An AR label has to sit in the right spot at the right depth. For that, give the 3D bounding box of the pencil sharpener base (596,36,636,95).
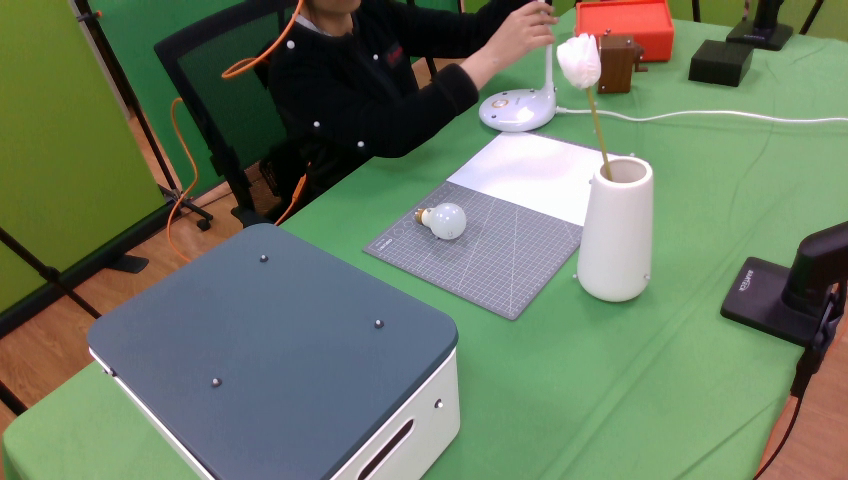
[{"bbox_3d":[0.406,-0.369,1.280,0.076,0.107,0.061,1,41,13],"label":"pencil sharpener base"}]

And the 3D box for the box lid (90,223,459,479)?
[{"bbox_3d":[-0.174,0.102,0.666,0.368,0.015,0.264,24,48,35],"label":"box lid"}]

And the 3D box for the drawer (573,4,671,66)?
[{"bbox_3d":[0.461,-0.490,1.435,0.211,0.073,0.194,2,41,12],"label":"drawer"}]

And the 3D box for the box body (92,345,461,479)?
[{"bbox_3d":[-0.162,0.170,0.708,0.361,0.161,0.255,25,50,34],"label":"box body"}]

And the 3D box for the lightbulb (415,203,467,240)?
[{"bbox_3d":[0.024,-0.034,0.999,0.060,0.060,0.107,-38,32,-30],"label":"lightbulb"}]

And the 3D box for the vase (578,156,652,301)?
[{"bbox_3d":[0.261,-0.011,0.812,0.098,0.201,0.097,-4,40,4],"label":"vase"}]

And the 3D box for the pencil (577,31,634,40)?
[{"bbox_3d":[0.431,-0.488,1.443,0.012,0.012,0.192,-25,30,-18],"label":"pencil"}]

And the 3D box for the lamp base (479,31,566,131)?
[{"bbox_3d":[0.200,-0.332,1.219,0.179,0.181,0.160,1,40,7],"label":"lamp base"}]

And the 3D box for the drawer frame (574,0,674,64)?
[{"bbox_3d":[0.464,-0.492,1.434,0.213,0.083,0.201,1,40,12],"label":"drawer frame"}]

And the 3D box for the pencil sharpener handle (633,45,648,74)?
[{"bbox_3d":[0.454,-0.378,1.262,0.030,0.068,0.036,1,46,13],"label":"pencil sharpener handle"}]

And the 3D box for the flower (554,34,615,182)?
[{"bbox_3d":[0.237,-0.083,0.774,0.044,0.363,0.038,-22,26,6],"label":"flower"}]
